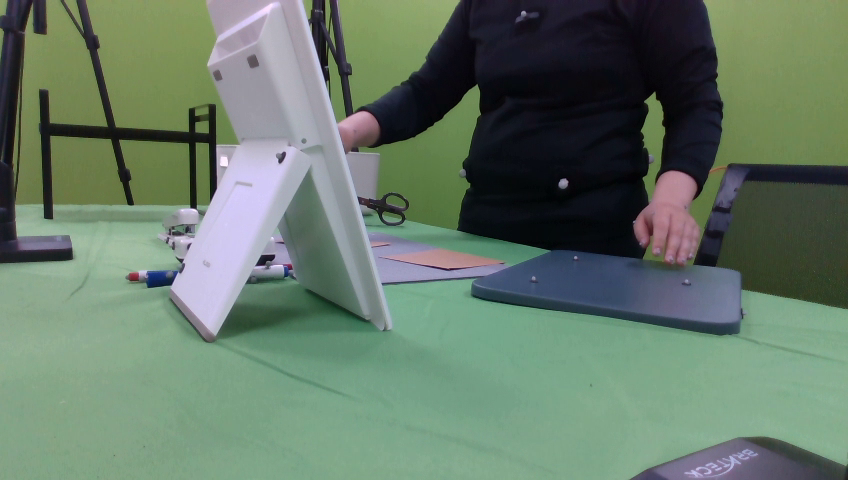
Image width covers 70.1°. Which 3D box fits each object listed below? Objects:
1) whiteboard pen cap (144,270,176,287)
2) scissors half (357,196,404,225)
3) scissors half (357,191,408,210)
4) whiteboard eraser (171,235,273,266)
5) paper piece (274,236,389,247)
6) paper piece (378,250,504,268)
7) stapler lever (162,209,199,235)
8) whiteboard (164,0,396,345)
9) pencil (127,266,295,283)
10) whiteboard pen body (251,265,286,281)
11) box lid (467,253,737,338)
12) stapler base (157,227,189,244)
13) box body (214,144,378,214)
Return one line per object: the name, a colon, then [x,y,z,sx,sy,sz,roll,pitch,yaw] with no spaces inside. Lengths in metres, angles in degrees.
whiteboard pen cap: [-0.271,0.039,0.627,0.033,0.018,0.018,-3,10,-33]
scissors half: [-0.127,-0.072,1.321,0.175,0.040,0.013,22,6,-6]
scissors half: [-0.123,-0.092,1.317,0.175,0.040,0.013,5,12,-3]
whiteboard eraser: [-0.248,0.014,0.747,0.113,0.042,0.055,-1,10,-32]
paper piece: [-0.150,0.003,0.978,0.135,0.008,0.139,13,10,35]
paper piece: [0.026,0.026,0.865,0.134,0.004,0.136,9,9,43]
stapler lever: [-0.376,-0.031,0.933,0.027,0.040,0.117,0,7,-38]
whiteboard: [-0.172,-0.053,0.511,0.144,0.305,0.216,-23,20,-26]
pencil: [-0.231,0.037,0.690,0.195,0.012,0.012,-2,9,-34]
whiteboard pen body: [-0.220,0.039,0.655,0.141,0.017,0.017,-2,9,-31]
box lid: [0.234,0.055,0.736,0.262,0.015,0.373,7,8,27]
stapler base: [-0.376,-0.007,0.935,0.041,0.024,0.130,1,5,-38]
box body: [-0.328,-0.154,1.543,0.366,0.160,0.253,-2,9,-32]
